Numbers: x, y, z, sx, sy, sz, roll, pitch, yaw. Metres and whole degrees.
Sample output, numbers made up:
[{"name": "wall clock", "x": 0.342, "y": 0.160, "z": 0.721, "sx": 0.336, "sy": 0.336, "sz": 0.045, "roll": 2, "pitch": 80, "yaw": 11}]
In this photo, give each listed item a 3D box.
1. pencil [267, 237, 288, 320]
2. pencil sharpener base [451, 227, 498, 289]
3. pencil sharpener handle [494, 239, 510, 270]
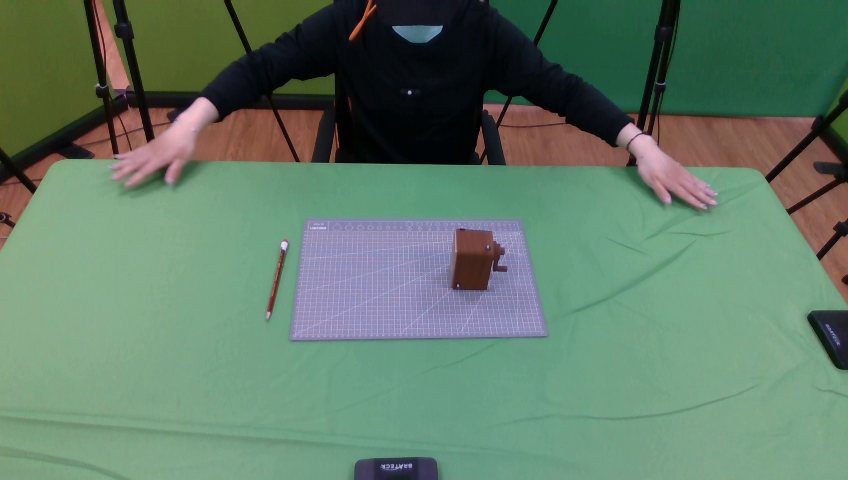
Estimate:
[{"name": "pencil", "x": -0.271, "y": 0.068, "z": 1.119, "sx": 0.012, "sy": 0.012, "sz": 0.193, "roll": 2, "pitch": 48, "yaw": -2}, {"name": "pencil sharpener base", "x": 0.091, "y": 0.034, "z": 1.103, "sx": 0.077, "sy": 0.107, "sz": 0.061, "roll": 2, "pitch": 46, "yaw": -1}, {"name": "pencil sharpener handle", "x": 0.143, "y": 0.029, "z": 1.094, "sx": 0.030, "sy": 0.068, "sz": 0.036, "roll": 2, "pitch": 42, "yaw": -1}]
